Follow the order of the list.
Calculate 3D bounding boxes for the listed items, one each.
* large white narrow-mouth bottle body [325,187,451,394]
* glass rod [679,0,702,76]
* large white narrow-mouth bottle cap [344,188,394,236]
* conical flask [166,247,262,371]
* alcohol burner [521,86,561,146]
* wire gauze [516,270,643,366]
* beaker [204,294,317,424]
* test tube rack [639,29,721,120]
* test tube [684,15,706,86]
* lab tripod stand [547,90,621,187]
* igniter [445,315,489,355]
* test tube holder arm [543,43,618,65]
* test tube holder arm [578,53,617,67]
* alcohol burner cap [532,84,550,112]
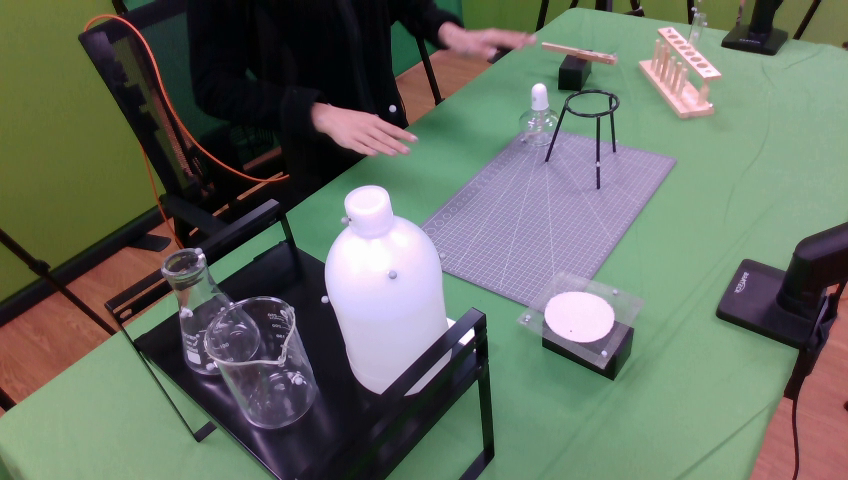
[{"bbox_3d":[-0.033,0.040,0.527,0.102,0.195,0.101,-5,40,4],"label":"large white narrow-mouth bottle body"},{"bbox_3d":[0.543,-0.417,1.233,0.008,0.200,0.008,1,40,0],"label":"glass rod"},{"bbox_3d":[-0.042,-0.023,0.471,0.038,0.024,0.037,-4,40,4],"label":"large white narrow-mouth bottle cap"},{"bbox_3d":[-0.208,0.064,0.585,0.075,0.122,0.075,-5,40,4],"label":"conical flask"},{"bbox_3d":[0.223,-0.241,1.155,0.078,0.119,0.077,-5,43,5],"label":"alcohol burner"},{"bbox_3d":[0.200,0.093,0.777,0.124,0.011,0.122,23,49,32],"label":"wire gauze"},{"bbox_3d":[-0.137,0.110,0.536,0.083,0.101,0.074,30,53,36],"label":"beaker"},{"bbox_3d":[0.527,-0.351,1.262,0.067,0.085,0.241,-8,40,1],"label":"test tube rack"},{"bbox_3d":[0.540,-0.378,1.215,0.017,0.151,0.017,-2,44,3],"label":"test tube"},{"bbox_3d":[0.289,-0.184,1.062,0.148,0.132,0.147,-6,41,6],"label":"lab tripod stand"},{"bbox_3d":[-0.030,0.095,0.871,0.274,0.025,0.057,22,59,31],"label":"igniter"},{"bbox_3d":[0.344,-0.413,1.340,0.177,0.015,0.013,25,50,31],"label":"test tube holder arm"},{"bbox_3d":[0.376,-0.393,1.314,0.087,0.015,0.010,26,51,32],"label":"test tube holder arm"},{"bbox_3d":[0.218,-0.268,1.133,0.034,0.048,0.033,-8,36,7],"label":"alcohol burner cap"}]
